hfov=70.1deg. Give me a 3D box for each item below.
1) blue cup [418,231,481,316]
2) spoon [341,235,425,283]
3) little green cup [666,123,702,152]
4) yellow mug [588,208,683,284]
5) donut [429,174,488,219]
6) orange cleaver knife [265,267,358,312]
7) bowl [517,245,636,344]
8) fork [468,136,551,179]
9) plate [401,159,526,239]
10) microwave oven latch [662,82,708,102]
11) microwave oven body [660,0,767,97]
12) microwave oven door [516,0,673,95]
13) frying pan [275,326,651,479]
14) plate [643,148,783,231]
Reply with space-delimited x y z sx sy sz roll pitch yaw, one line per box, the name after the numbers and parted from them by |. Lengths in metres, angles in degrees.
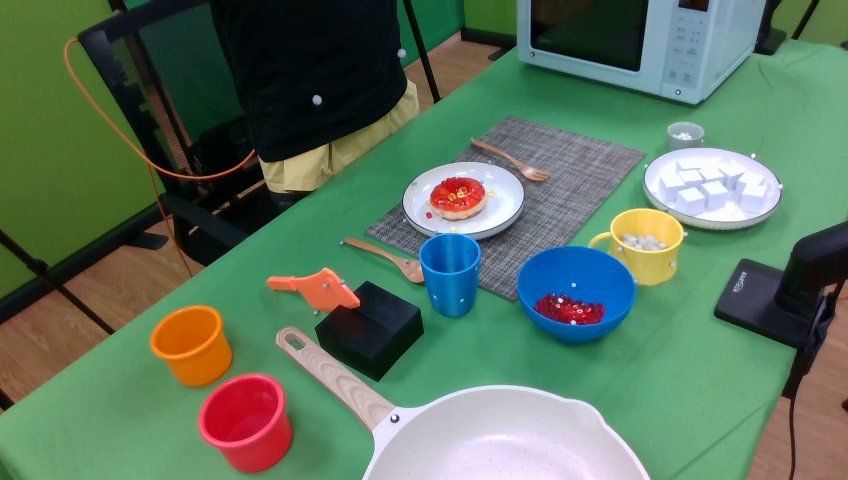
0.040 0.053 0.843 0.092 0.100 0.092 -4 43 4 | blue cup
-0.061 0.023 0.953 0.192 0.022 0.041 24 69 30 | spoon
0.472 -0.183 1.102 0.061 0.039 0.061 -5 41 5 | little green cup
0.305 0.009 0.884 0.131 0.064 0.099 -4 40 5 | yellow mug
0.058 -0.075 1.015 0.099 0.048 0.098 -6 38 5 | donut
-0.164 0.073 0.864 0.210 0.077 0.012 -6 31 50 | orange cleaver knife
0.200 0.084 0.802 0.151 0.077 0.150 -4 40 4 | bowl
0.154 -0.156 1.126 0.028 0.019 0.205 -39 51 -18 | fork
0.067 -0.065 1.019 0.209 0.038 0.208 -4 40 4 | plate
0.518 -0.298 1.203 0.078 0.029 0.030 28 53 35 | microwave oven latch
0.473 -0.516 1.314 0.438 0.261 0.327 26 51 34 | microwave oven body
0.344 -0.458 1.257 0.353 0.245 0.039 26 51 33 | microwave oven door
0.004 0.229 0.641 0.484 0.103 0.308 34 54 28 | frying pan
0.465 -0.080 0.985 0.207 0.039 0.206 -4 41 4 | plate
